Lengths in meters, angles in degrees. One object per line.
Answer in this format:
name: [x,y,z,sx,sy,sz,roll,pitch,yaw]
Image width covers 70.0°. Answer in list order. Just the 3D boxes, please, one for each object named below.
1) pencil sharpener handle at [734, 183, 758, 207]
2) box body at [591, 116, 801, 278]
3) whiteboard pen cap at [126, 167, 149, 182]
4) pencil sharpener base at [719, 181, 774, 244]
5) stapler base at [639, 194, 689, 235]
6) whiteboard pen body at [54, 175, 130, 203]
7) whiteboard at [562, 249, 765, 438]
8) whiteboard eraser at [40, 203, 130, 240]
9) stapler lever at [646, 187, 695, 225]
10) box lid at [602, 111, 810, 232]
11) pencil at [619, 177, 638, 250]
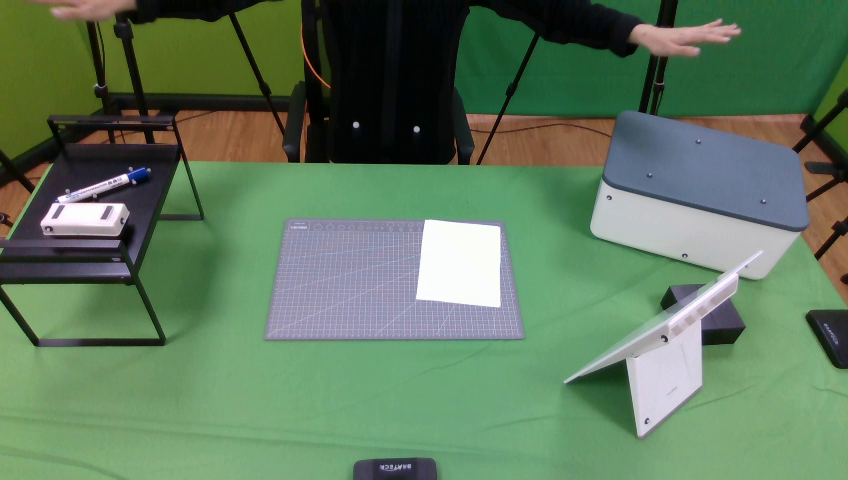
pencil sharpener handle: [0.663,-0.100,1.259,0.036,0.068,0.030,10,46,6]
box body: [0.540,-0.092,1.229,0.363,0.161,0.253,16,47,11]
whiteboard pen cap: [-0.482,-0.110,1.019,0.033,0.018,0.018,-28,55,-27]
pencil sharpener base: [0.652,-0.056,1.232,0.061,0.107,0.076,11,46,6]
stapler base: [0.510,-0.060,1.278,0.041,0.024,0.129,2,38,-32]
whiteboard pen body: [-0.530,-0.085,0.994,0.141,0.017,0.017,-26,54,-26]
whiteboard: [0.386,0.175,0.905,0.217,0.306,0.143,-26,72,-26]
whiteboard eraser: [-0.513,-0.028,0.922,0.113,0.042,0.055,1,48,-3]
stapler lever: [0.516,-0.078,1.266,0.027,0.040,0.117,1,40,-32]
box lid: [0.545,-0.143,1.176,0.371,0.015,0.262,15,47,11]
pencil: [0.431,-0.060,1.285,0.012,0.012,0.193,2,55,-2]
